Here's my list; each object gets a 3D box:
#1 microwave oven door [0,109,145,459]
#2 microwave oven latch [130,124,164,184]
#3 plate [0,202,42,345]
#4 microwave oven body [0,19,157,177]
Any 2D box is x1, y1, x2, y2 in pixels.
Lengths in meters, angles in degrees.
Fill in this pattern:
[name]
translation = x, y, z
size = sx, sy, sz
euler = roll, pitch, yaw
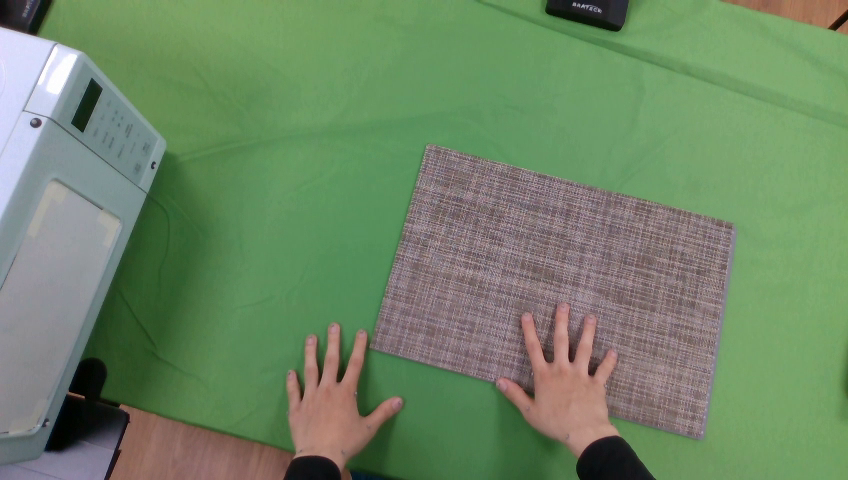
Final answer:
[microwave oven door]
translation = -0.433, 0.064, 0.665
size = 0.039, 0.244, 0.354
euler = 15, 77, 2
[microwave oven latch]
translation = -0.376, -0.118, 0.810
size = 0.030, 0.029, 0.079
euler = 18, 78, 1
[plate]
translation = -0.562, 0.045, 0.727
size = 0.209, 0.038, 0.208
euler = 1, 79, -3
[microwave oven body]
translation = -0.563, -0.014, 0.680
size = 0.326, 0.261, 0.440
euler = 16, 78, 1
